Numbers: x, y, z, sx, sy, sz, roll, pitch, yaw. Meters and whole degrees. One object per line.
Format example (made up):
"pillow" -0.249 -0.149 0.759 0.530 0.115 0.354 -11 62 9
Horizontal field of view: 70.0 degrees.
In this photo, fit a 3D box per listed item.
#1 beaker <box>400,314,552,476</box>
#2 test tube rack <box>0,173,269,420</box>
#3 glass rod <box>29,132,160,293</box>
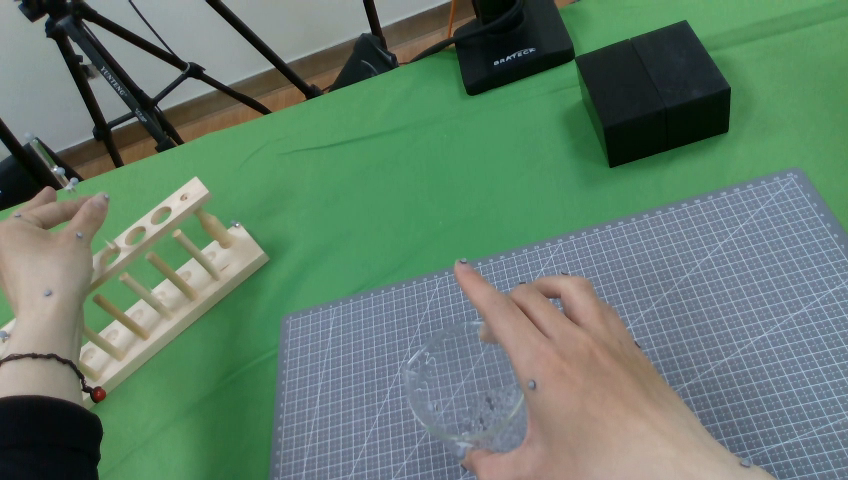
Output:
"beaker" 0.037 0.103 0.388 0.083 0.101 0.073 3 56 26
"test tube rack" -0.279 0.052 0.578 0.242 0.086 0.066 -41 50 -10
"glass rod" -0.288 -0.015 0.544 0.008 0.202 0.008 -7 46 8
